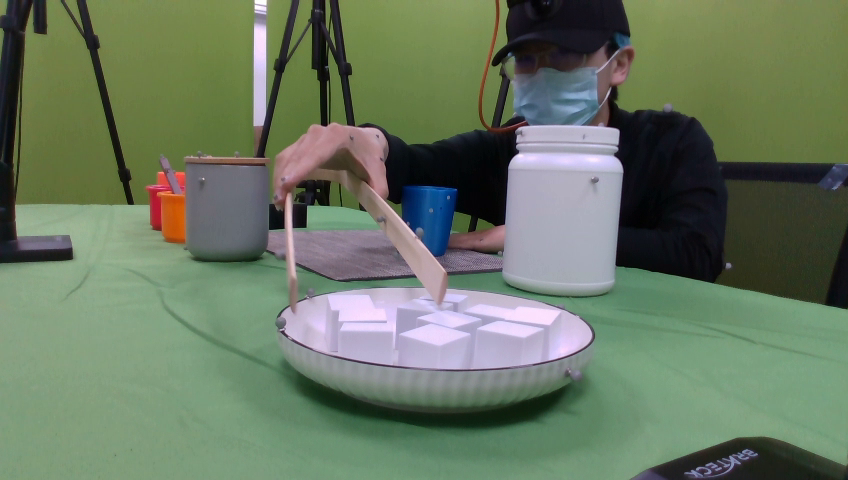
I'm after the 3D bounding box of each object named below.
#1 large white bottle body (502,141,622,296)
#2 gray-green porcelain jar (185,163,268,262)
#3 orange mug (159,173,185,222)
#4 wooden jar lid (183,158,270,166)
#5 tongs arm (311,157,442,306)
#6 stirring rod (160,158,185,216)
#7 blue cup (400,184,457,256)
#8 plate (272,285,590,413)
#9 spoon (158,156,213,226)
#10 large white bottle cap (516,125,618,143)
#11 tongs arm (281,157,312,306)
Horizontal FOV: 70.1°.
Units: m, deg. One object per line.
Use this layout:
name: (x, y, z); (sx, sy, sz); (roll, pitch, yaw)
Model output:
large white bottle body: (0.160, -0.036, 0.706); (0.131, 0.184, 0.130); (2, 7, 0)
gray-green porcelain jar: (-0.263, -0.038, 0.808); (0.106, 0.126, 0.106); (3, 8, 0)
orange mug: (-0.477, -0.089, 1.240); (0.127, 0.101, 0.083); (-7, 11, -33)
wooden jar lid: (-0.260, -0.099, 0.800); (0.108, 0.020, 0.108); (0, 9, 0)
tongs arm: (-0.063, -0.028, 0.564); (0.051, 0.026, 0.383); (0, 18, -16)
stirring rod: (-0.391, -0.070, 0.971); (0.014, 0.006, 0.175); (-2, 50, -48)
blue cup: (0.003, -0.030, 0.901); (0.093, 0.100, 0.092); (4, 9, 0)
plate: (0.004, 0.069, 0.407); (0.208, 0.039, 0.207); (2, 7, 0)
spoon: (-0.435, -0.094, 1.121); (0.041, 0.022, 0.193); (4, 51, 14)
large white bottle cap: (0.163, -0.120, 0.694); (0.115, 0.018, 0.115); (2, 8, 0)
tongs arm: (-0.115, -0.030, 0.549); (0.028, 0.028, 0.386); (-2, 18, -10)
